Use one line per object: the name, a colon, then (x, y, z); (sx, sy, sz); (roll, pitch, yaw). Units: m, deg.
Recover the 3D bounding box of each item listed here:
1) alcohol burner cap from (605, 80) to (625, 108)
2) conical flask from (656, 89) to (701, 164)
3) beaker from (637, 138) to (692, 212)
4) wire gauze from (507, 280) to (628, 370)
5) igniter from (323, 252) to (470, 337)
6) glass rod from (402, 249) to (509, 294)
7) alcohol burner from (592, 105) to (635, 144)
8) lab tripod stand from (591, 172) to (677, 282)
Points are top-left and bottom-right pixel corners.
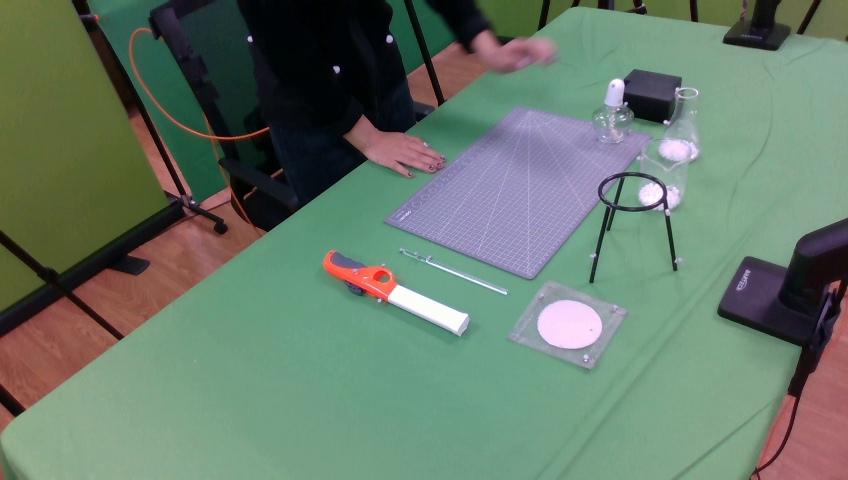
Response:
alcohol burner cap: (0.350, -0.268, 1.102); (0.034, 0.048, 0.033); (-2, 45, 3)
conical flask: (0.452, -0.201, 1.057); (0.075, 0.122, 0.075); (-6, 40, 5)
beaker: (0.383, -0.100, 0.970); (0.074, 0.101, 0.084); (2, 42, 14)
wire gauze: (0.196, 0.114, 0.823); (0.120, 0.011, 0.125); (20, 50, 31)
igniter: (-0.052, 0.075, 0.901); (0.274, 0.025, 0.057); (22, 60, 32)
glass rod: (0.045, 0.046, 0.931); (0.198, 0.008, 0.008); (21, 49, 31)
alcohol burner: (0.353, -0.242, 1.126); (0.078, 0.119, 0.077); (-5, 38, 5)
lab tripod stand: (0.292, -0.022, 0.867); (0.148, 0.132, 0.147); (-7, 39, 6)
